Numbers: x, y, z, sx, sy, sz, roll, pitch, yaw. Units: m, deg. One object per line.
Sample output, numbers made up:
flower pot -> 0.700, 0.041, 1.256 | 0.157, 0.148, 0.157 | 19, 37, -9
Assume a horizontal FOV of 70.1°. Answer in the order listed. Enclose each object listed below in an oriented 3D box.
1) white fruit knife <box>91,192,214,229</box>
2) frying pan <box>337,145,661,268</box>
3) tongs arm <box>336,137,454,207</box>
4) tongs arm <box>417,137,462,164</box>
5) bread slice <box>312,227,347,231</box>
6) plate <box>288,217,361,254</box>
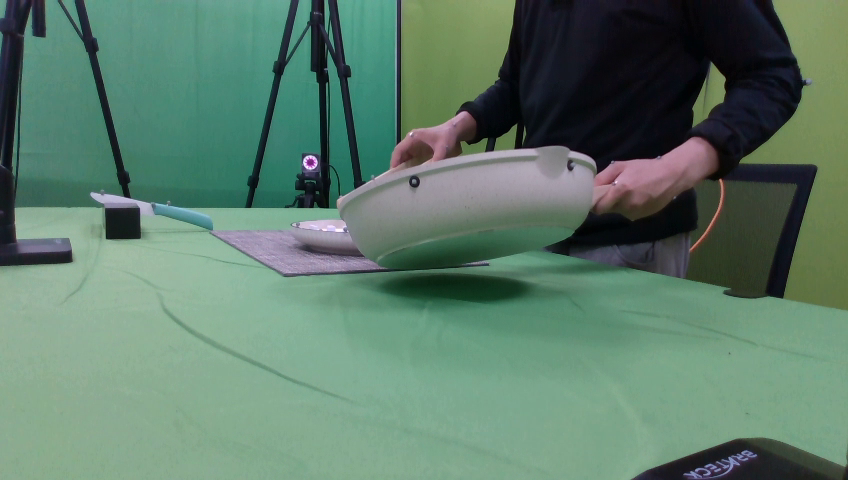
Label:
white fruit knife -> -0.478, -0.055, 1.077 | 0.208, 0.027, 0.016 | 14, -2, -30
frying pan -> 0.137, -0.044, 0.740 | 0.490, 0.102, 0.305 | -12, -5, -33
tongs arm -> -0.037, -0.127, 1.100 | 0.050, 0.026, 0.386 | -8, 18, 29
tongs arm -> -0.007, -0.130, 1.082 | 0.028, 0.028, 0.388 | -11, 16, 31
bread slice -> -0.115, -0.005, 0.950 | 0.134, 0.018, 0.107 | 3, 6, -7
plate -> -0.109, -0.008, 0.956 | 0.208, 0.039, 0.207 | 2, 7, 0
